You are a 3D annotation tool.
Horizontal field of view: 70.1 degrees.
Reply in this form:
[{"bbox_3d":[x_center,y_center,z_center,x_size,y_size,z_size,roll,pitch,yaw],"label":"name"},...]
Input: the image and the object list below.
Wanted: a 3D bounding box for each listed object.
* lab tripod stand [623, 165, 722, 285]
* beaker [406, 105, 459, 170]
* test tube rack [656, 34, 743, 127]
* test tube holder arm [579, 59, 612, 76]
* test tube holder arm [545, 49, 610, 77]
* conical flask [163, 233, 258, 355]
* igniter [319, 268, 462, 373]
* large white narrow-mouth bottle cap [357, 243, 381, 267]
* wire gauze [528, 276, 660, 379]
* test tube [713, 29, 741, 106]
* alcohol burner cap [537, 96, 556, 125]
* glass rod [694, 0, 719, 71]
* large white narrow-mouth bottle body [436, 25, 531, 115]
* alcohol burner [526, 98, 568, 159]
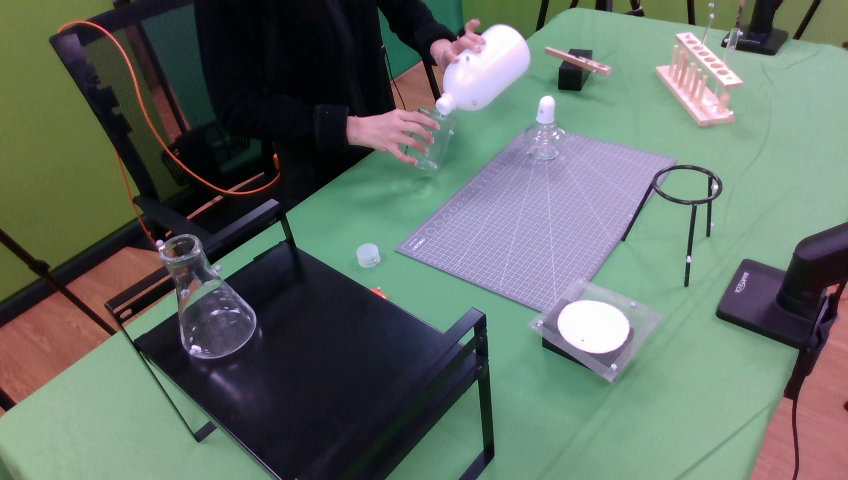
[{"bbox_3d":[0.365,-0.030,0.874,0.148,0.132,0.147,-6,41,6],"label":"lab tripod stand"},{"bbox_3d":[0.013,-0.185,1.096,0.074,0.100,0.084,22,21,5],"label":"beaker"},{"bbox_3d":[0.553,-0.330,1.233,0.067,0.085,0.241,-7,40,2],"label":"test tube rack"},{"bbox_3d":[0.363,-0.368,1.289,0.010,0.015,0.087,-26,43,-30],"label":"test tube holder arm"},{"bbox_3d":[0.330,-0.387,1.314,0.013,0.015,0.177,-26,43,-30],"label":"test tube holder arm"},{"bbox_3d":[-0.217,0.051,0.601,0.075,0.122,0.075,-4,40,4],"label":"conical flask"},{"bbox_3d":[-0.059,0.107,0.862,0.274,0.025,0.057,27,62,34],"label":"igniter"},{"bbox_3d":[-0.088,0.023,0.972,0.038,0.024,0.037,-4,41,4],"label":"large white narrow-mouth bottle cap"},{"bbox_3d":[0.214,0.103,0.763,0.124,0.011,0.122,30,52,35],"label":"wire gauze"},{"bbox_3d":[0.572,-0.324,1.146,0.017,0.151,0.017,-3,39,3],"label":"test tube"},{"bbox_3d":[0.223,-0.237,1.095,0.034,0.048,0.033,-1,42,1],"label":"alcohol burner cap"},{"bbox_3d":[0.561,-0.401,1.214,0.008,0.200,0.008,-1,48,2],"label":"glass rod"},{"bbox_3d":[0.098,-0.297,1.100,0.195,0.102,0.101,-44,50,-16],"label":"large white narrow-mouth bottle body"},{"bbox_3d":[0.228,-0.210,1.118,0.078,0.119,0.077,-5,43,5],"label":"alcohol burner"}]
